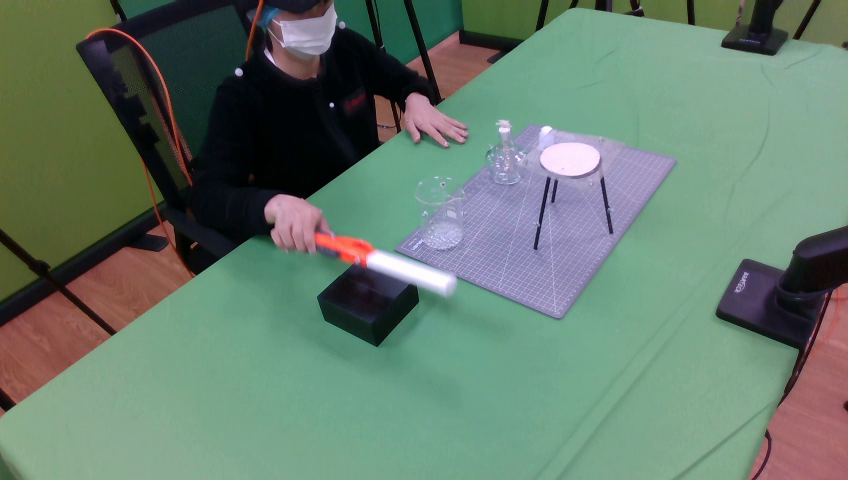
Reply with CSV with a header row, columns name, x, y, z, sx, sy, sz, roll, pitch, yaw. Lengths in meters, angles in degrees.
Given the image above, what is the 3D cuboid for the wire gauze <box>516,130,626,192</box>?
name,x,y,z,sx,sy,sz,roll,pitch,yaw
wire gauze,0.216,-0.124,0.892,0.124,0.011,0.122,22,49,31

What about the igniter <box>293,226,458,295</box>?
name,x,y,z,sx,sy,sz,roll,pitch,yaw
igniter,-0.078,0.024,0.833,0.274,0.025,0.057,17,27,29

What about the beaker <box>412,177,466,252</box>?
name,x,y,z,sx,sy,sz,roll,pitch,yaw
beaker,0.029,-0.038,0.952,0.083,0.101,0.074,9,43,18

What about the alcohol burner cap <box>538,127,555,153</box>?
name,x,y,z,sx,sy,sz,roll,pitch,yaw
alcohol burner cap,0.234,-0.191,1.147,0.034,0.048,0.033,-5,40,5

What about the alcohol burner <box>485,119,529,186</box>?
name,x,y,z,sx,sy,sz,roll,pitch,yaw
alcohol burner,0.145,-0.157,1.064,0.078,0.119,0.077,-6,39,5

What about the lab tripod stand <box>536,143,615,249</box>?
name,x,y,z,sx,sy,sz,roll,pitch,yaw
lab tripod stand,0.224,-0.069,0.931,0.148,0.132,0.147,-4,42,4
